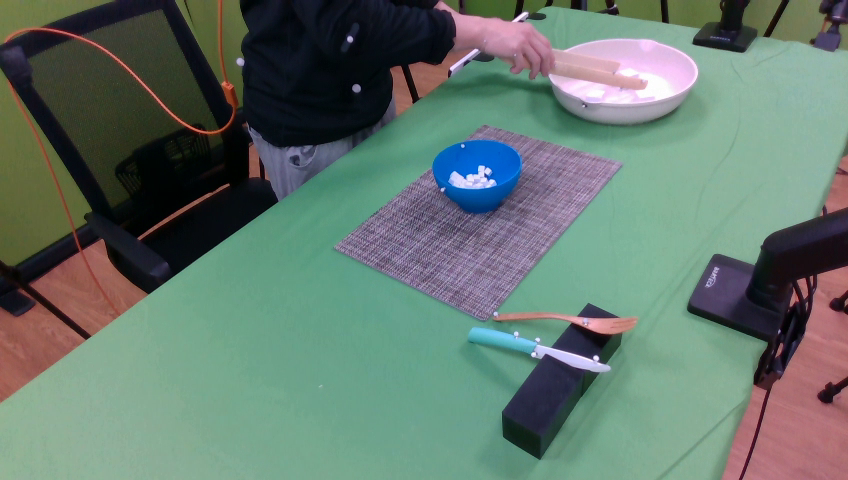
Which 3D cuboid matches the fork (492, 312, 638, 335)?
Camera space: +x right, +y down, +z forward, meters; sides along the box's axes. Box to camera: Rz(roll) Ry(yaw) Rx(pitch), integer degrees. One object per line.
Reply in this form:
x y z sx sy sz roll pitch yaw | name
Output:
0.173 0.103 0.774 0.206 0.019 0.028 0 38 40 | fork

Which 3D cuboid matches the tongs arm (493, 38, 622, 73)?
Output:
0.275 -0.361 1.198 0.391 0.028 0.028 -5 47 -39 | tongs arm

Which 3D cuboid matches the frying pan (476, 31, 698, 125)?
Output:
0.321 -0.371 1.290 0.484 0.103 0.307 29 51 24 | frying pan

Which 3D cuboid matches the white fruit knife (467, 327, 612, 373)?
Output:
0.134 0.134 0.742 0.205 0.027 0.016 7 35 41 | white fruit knife

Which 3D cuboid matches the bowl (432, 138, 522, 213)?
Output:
0.091 -0.100 1.021 0.151 0.077 0.150 -4 41 4 | bowl

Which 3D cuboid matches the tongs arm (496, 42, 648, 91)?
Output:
0.298 -0.330 1.168 0.388 0.026 0.050 -3 42 -36 | tongs arm
